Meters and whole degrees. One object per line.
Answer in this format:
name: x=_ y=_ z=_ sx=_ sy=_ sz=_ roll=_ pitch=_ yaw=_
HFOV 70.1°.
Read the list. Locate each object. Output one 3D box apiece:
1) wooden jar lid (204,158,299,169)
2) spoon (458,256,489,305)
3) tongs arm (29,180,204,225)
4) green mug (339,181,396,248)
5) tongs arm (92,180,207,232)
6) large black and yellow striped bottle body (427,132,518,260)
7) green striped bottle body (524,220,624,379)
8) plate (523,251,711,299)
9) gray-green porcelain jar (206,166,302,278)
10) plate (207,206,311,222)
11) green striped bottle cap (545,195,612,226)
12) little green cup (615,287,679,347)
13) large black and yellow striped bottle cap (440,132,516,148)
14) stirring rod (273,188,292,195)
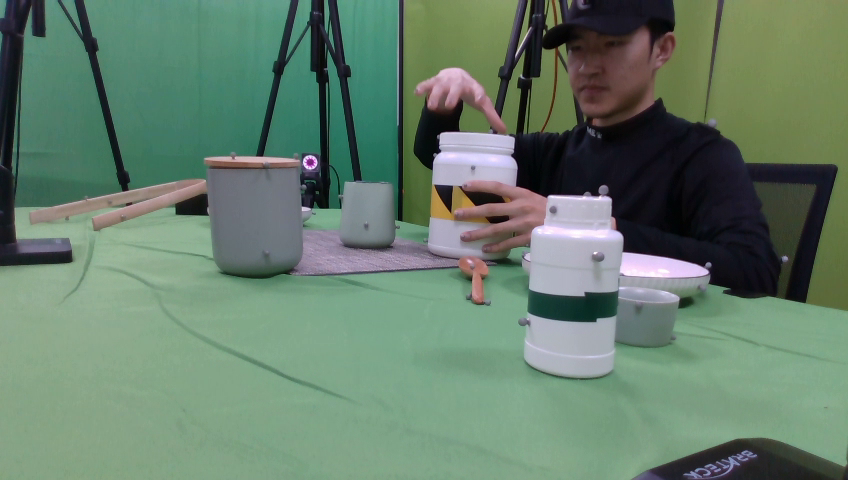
wooden jar lid: x=-0.202 y=-0.086 z=0.714 sx=0.108 sy=0.020 sz=0.108 roll=3 pitch=11 yaw=0
spoon: x=0.059 y=0.044 z=0.695 sx=0.041 sy=0.021 sz=0.194 roll=18 pitch=7 yaw=1
tongs arm: x=-0.609 y=-0.083 z=1.245 sx=0.050 sy=0.026 sz=0.386 roll=5 pitch=16 yaw=23
green mug: x=-0.097 y=-0.044 z=0.995 sx=0.093 sy=0.105 sz=0.125 roll=-1 pitch=8 yaw=-21
tongs arm: x=-0.534 y=-0.076 z=1.221 sx=0.028 sy=0.028 sz=0.388 roll=-2 pitch=15 yaw=12
large black and yellow striped bottle body: x=0.075 y=-0.068 z=0.924 sx=0.131 sy=0.184 sz=0.130 roll=4 pitch=6 yaw=0
green striped bottle body: x=0.104 y=0.031 z=0.422 sx=0.063 sy=0.119 sz=0.063 roll=2 pitch=7 yaw=0
plate: x=0.219 y=0.041 z=0.706 sx=0.209 sy=0.038 sz=0.209 roll=2 pitch=7 yaw=0
gray-green porcelain jar: x=-0.201 y=-0.024 z=0.724 sx=0.106 sy=0.126 sz=0.106 roll=-1 pitch=9 yaw=1
plate: x=-0.342 y=-0.050 z=1.259 sx=0.208 sy=0.039 sz=0.207 roll=3 pitch=7 yaw=0
green striped bottle cap: x=0.106 y=-0.020 z=0.414 sx=0.044 sy=0.020 sz=0.044 roll=2 pitch=4 yaw=0
little green cup: x=0.180 y=0.064 z=0.506 sx=0.061 sy=0.038 sz=0.061 roll=2 pitch=8 yaw=0
large black and yellow striped bottle cap: x=0.081 y=-0.150 z=0.913 sx=0.115 sy=0.019 sz=0.115 roll=2 pitch=5 yaw=0
stirring rod: x=-0.354 y=-0.122 z=1.519 sx=0.006 sy=0.014 sz=0.176 roll=2 pitch=7 yaw=1
